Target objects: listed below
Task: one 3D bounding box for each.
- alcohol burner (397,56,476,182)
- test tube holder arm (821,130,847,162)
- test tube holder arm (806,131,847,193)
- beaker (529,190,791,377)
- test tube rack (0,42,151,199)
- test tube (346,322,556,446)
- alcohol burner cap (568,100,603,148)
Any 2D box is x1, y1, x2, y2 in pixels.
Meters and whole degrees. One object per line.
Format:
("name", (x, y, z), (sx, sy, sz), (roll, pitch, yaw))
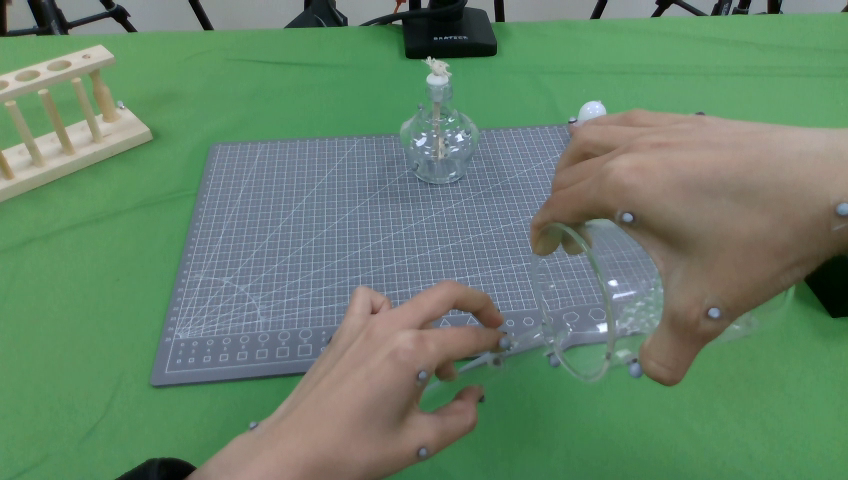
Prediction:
("alcohol burner", (0.012, -0.115, 0.573), (0.078, 0.120, 0.077), (-1, 43, 1))
("test tube holder arm", (0.370, -0.035, 0.501), (0.013, 0.015, 0.176), (-7, 44, 4))
("test tube holder arm", (0.363, -0.066, 0.533), (0.010, 0.015, 0.087), (-6, 44, 4))
("beaker", (0.111, 0.019, 0.291), (0.100, 0.084, 0.073), (-11, 59, -13))
("test tube rack", (-0.401, -0.100, 0.575), (0.242, 0.086, 0.066), (-33, 53, -29))
("test tube", (0.009, 0.086, 0.346), (0.150, 0.017, 0.017), (-34, 37, 27))
("alcohol burner cap", (0.171, -0.125, 0.636), (0.034, 0.048, 0.033), (1, 44, 0))
